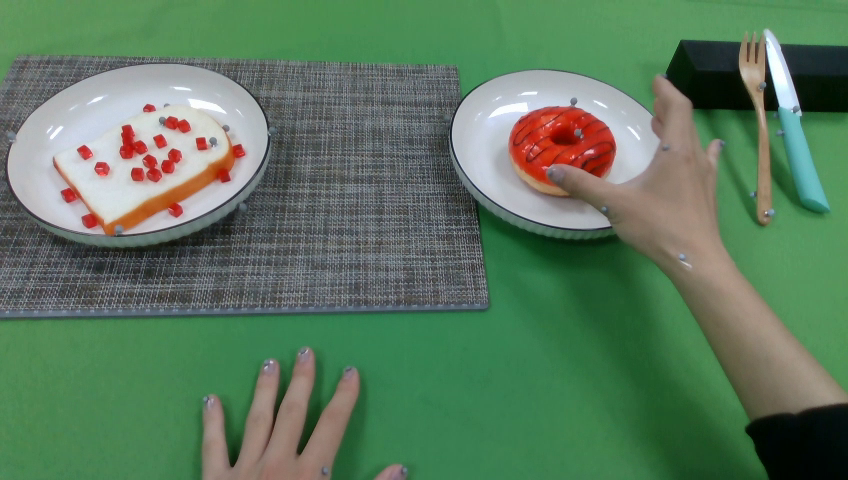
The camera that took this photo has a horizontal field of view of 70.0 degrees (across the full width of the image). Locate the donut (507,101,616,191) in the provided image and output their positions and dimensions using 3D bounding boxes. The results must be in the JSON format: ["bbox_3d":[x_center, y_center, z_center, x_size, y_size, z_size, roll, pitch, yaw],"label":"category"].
[{"bbox_3d":[0.125,-0.087,0.555,0.099,0.048,0.098,2,55,-2],"label":"donut"}]

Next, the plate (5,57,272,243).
[{"bbox_3d":[-0.237,-0.078,0.522,0.209,0.038,0.207,3,54,-3],"label":"plate"}]

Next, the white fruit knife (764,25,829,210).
[{"bbox_3d":[0.362,-0.126,0.600,0.027,0.016,0.206,0,71,-7],"label":"white fruit knife"}]

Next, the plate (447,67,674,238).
[{"bbox_3d":[0.123,-0.081,0.566,0.208,0.039,0.205,3,53,-4],"label":"plate"}]

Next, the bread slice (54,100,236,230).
[{"bbox_3d":[-0.234,-0.074,0.522,0.131,0.019,0.104,-37,65,-27],"label":"bread slice"}]

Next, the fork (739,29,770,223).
[{"bbox_3d":[0.322,-0.114,0.585,0.028,0.019,0.206,9,71,-7],"label":"fork"}]
